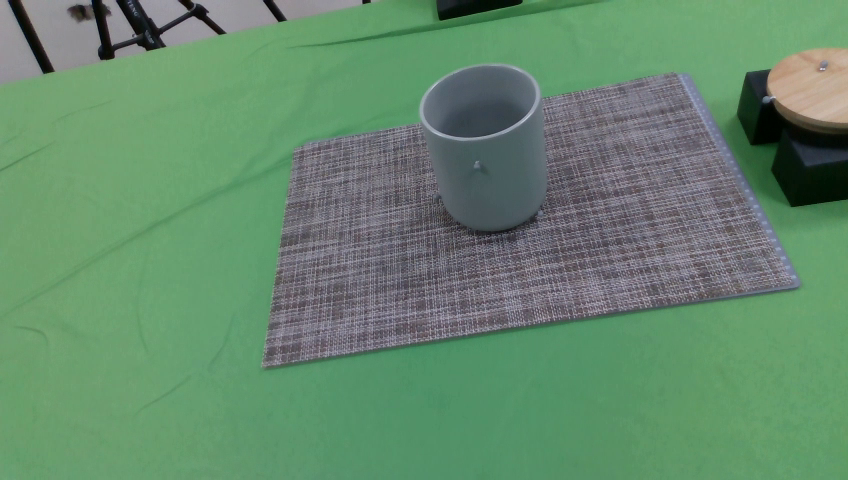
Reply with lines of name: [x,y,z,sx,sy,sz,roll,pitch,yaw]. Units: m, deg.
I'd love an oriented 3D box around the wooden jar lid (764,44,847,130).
wooden jar lid: [0.359,-0.135,0.534,0.108,0.021,0.107,-7,50,9]

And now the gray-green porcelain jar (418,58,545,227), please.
gray-green porcelain jar: [0.057,-0.083,0.559,0.106,0.128,0.105,-7,49,9]
